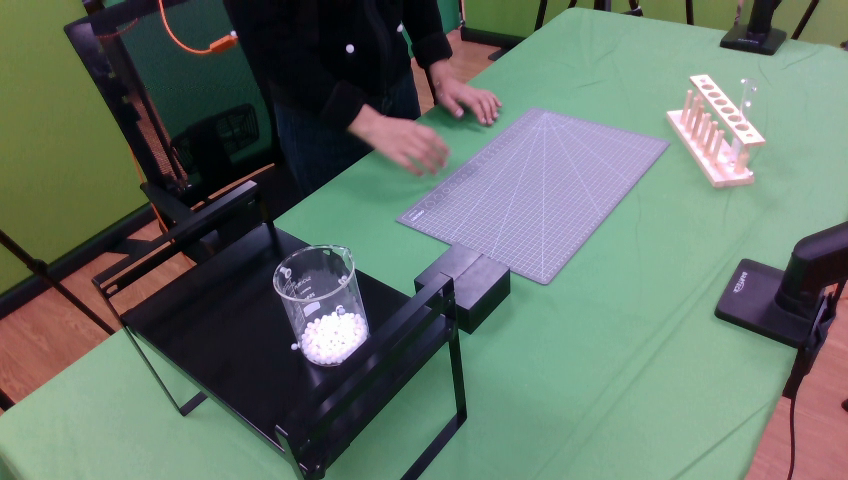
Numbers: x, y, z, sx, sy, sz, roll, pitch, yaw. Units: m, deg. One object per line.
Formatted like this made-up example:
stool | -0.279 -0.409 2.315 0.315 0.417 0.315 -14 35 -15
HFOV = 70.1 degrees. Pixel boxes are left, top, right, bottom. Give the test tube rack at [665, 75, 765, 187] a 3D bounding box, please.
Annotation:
test tube rack | 0.512 -0.201 1.082 0.067 0.085 0.241 -5 41 2

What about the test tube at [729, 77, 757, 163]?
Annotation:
test tube | 0.525 -0.195 0.997 0.017 0.151 0.017 -4 36 4

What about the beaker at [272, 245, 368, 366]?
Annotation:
beaker | -0.093 0.064 0.578 0.073 0.101 0.084 21 48 29
